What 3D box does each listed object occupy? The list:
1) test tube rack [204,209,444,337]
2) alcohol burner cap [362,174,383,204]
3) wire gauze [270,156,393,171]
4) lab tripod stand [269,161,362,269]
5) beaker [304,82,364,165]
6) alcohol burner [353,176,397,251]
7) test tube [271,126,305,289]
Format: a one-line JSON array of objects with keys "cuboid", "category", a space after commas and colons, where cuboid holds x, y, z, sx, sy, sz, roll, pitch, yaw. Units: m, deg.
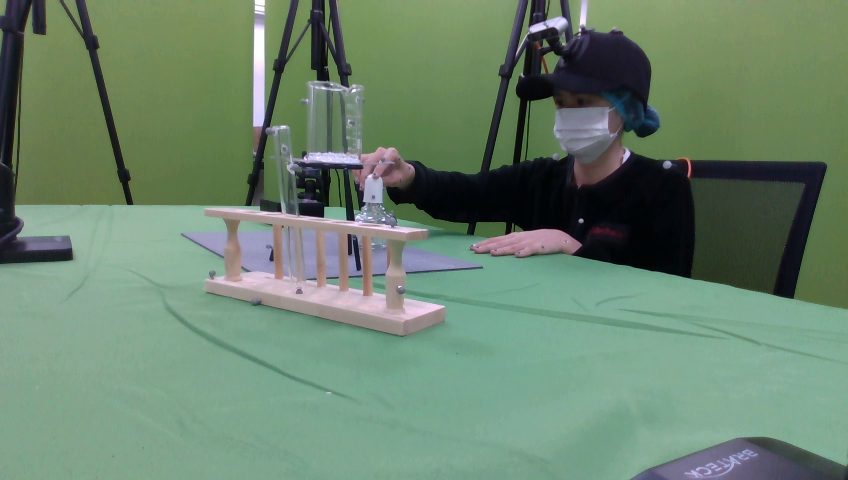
[{"cuboid": [-0.100, 0.021, 0.565, 0.241, 0.085, 0.067, 7, 9, 32], "category": "test tube rack"}, {"cuboid": [-0.080, -0.079, 0.944, 0.034, 0.048, 0.034, 3, 8, 0], "category": "alcohol burner cap"}, {"cuboid": [-0.122, -0.100, 0.786, 0.122, 0.011, 0.124, -5, 14, -38], "category": "wire gauze"}, {"cuboid": [-0.125, -0.036, 0.794, 0.148, 0.131, 0.148, 5, 7, 0], "category": "lab tripod stand"}, {"cuboid": [-0.115, -0.148, 0.779, 0.074, 0.100, 0.083, -2, 10, -30], "category": "beaker"}, {"cuboid": [-0.082, -0.043, 0.950, 0.078, 0.119, 0.078, 1, 8, 0], "category": "alcohol burner"}, {"cuboid": [-0.124, -0.028, 0.554, 0.017, 0.150, 0.017, -5, 7, 1], "category": "test tube"}]
